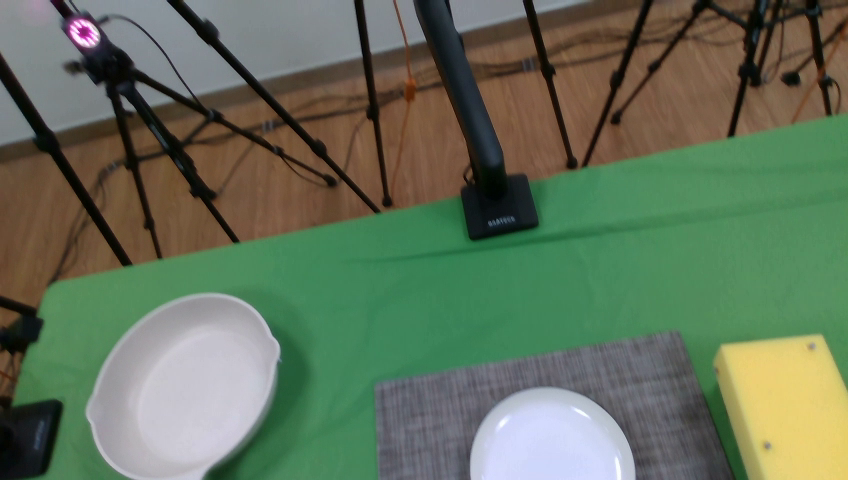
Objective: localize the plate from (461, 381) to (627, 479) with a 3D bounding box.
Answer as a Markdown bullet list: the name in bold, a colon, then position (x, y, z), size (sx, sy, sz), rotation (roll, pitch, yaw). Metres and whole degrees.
- **plate**: position (0.153, 0.287, 0.782), size (0.207, 0.039, 0.205), rotation (-6, 56, 9)

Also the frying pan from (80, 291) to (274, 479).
- **frying pan**: position (-0.342, 0.291, 0.857), size (0.307, 0.104, 0.482), rotation (-18, 47, 2)

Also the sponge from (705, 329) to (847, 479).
- **sponge**: position (0.420, 0.212, 0.699), size (0.118, 0.061, 0.205), rotation (-9, 56, 7)
